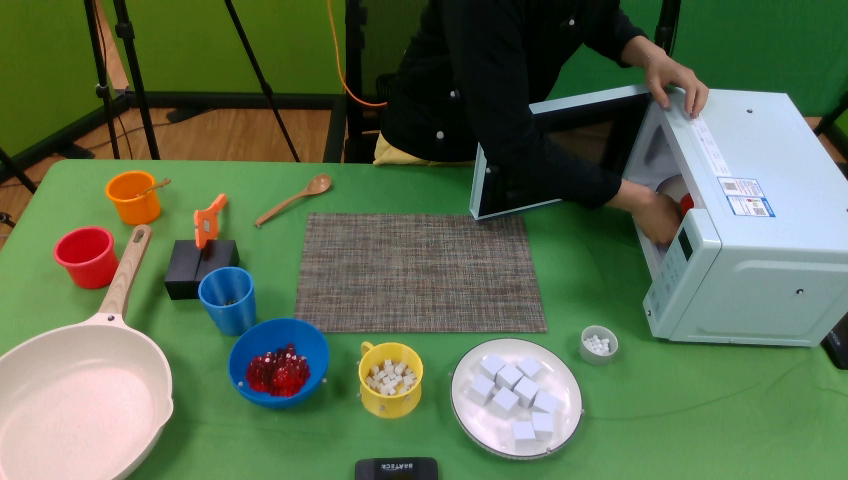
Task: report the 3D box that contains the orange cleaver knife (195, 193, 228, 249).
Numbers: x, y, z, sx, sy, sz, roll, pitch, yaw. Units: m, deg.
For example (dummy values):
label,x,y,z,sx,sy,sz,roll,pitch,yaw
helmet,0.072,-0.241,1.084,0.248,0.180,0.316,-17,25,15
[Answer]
label,x,y,z,sx,sy,sz,roll,pitch,yaw
orange cleaver knife,-0.406,-0.041,1.163,0.012,0.077,0.210,-1,18,-3

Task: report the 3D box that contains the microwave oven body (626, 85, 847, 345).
label,x,y,z,sx,sy,sz,roll,pitch,yaw
microwave oven body,0.568,-0.054,1.115,0.326,0.261,0.439,2,46,-1

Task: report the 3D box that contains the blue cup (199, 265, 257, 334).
label,x,y,z,sx,sy,sz,roll,pitch,yaw
blue cup,-0.320,0.106,1.015,0.093,0.101,0.092,2,48,-2

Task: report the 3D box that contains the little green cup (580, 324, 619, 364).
label,x,y,z,sx,sy,sz,roll,pitch,yaw
little green cup,0.296,0.179,1.031,0.061,0.039,0.061,2,45,-2

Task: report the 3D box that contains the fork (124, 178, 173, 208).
label,x,y,z,sx,sy,sz,roll,pitch,yaw
fork,-0.525,-0.090,1.154,0.207,0.019,0.028,-17,27,45

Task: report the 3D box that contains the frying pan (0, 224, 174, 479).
label,x,y,z,sx,sy,sz,roll,pitch,yaw
frying pan,-0.505,0.169,0.941,0.307,0.103,0.485,5,54,-1

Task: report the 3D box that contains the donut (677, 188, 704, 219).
label,x,y,z,sx,sy,sz,roll,pitch,yaw
donut,0.541,-0.062,1.173,0.099,0.048,0.098,1,44,0

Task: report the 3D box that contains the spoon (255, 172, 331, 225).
label,x,y,z,sx,sy,sz,roll,pitch,yaw
spoon,-0.272,-0.087,1.257,0.041,0.022,0.193,45,57,13

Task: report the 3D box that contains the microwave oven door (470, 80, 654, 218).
label,x,y,z,sx,sy,sz,roll,pitch,yaw
microwave oven door,0.272,-0.180,1.207,0.356,0.245,0.039,-14,49,-16

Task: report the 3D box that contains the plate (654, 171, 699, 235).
label,x,y,z,sx,sy,sz,roll,pitch,yaw
plate,0.555,-0.053,1.188,0.209,0.038,0.208,1,47,-1

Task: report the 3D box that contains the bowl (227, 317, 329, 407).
label,x,y,z,sx,sy,sz,roll,pitch,yaw
bowl,-0.222,0.203,0.947,0.151,0.077,0.150,2,46,-2

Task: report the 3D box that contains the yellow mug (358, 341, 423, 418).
label,x,y,z,sx,sy,sz,roll,pitch,yaw
yellow mug,-0.062,0.210,0.961,0.100,0.064,0.130,-29,54,-27

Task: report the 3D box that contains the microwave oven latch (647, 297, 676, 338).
label,x,y,z,sx,sy,sz,roll,pitch,yaw
microwave oven latch,0.413,0.133,1.060,0.030,0.029,0.078,5,46,2

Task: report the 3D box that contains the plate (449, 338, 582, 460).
label,x,y,z,sx,sy,sz,roll,pitch,yaw
plate,0.141,0.251,0.955,0.208,0.039,0.206,2,47,-2
